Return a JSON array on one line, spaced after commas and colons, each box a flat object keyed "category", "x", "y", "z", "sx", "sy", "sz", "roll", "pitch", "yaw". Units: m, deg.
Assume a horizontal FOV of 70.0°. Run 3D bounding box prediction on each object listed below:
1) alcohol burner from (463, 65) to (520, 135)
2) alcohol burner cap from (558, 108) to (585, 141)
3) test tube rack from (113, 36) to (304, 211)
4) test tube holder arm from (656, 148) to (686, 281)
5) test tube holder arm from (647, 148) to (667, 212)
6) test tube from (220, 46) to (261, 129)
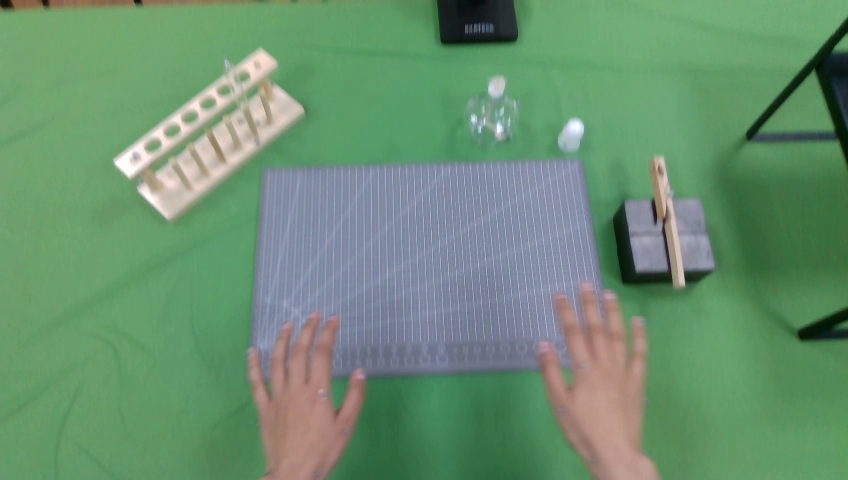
[{"category": "alcohol burner", "x": 0.094, "y": -0.195, "z": 0.820, "sx": 0.078, "sy": 0.120, "sz": 0.077, "roll": 1, "pitch": 67, "yaw": -2}, {"category": "alcohol burner cap", "x": 0.208, "y": -0.164, "z": 0.850, "sx": 0.034, "sy": 0.048, "sz": 0.033, "roll": 1, "pitch": 68, "yaw": -1}, {"category": "test tube rack", "x": -0.278, "y": -0.156, "z": 0.808, "sx": 0.066, "sy": 0.086, "sz": 0.242, "roll": 41, "pitch": 73, "yaw": 14}, {"category": "test tube holder arm", "x": 0.309, "y": -0.035, "z": 0.764, "sx": 0.013, "sy": 0.015, "sz": 0.177, "roll": 0, "pitch": 69, "yaw": -9}, {"category": "test tube holder arm", "x": 0.301, "y": -0.077, "z": 0.778, "sx": 0.010, "sy": 0.015, "sz": 0.087, "roll": 1, "pitch": 69, "yaw": -9}, {"category": "test tube", "x": -0.233, "y": -0.192, "z": 0.775, "sx": 0.017, "sy": 0.151, "sz": 0.017, "roll": 0, "pitch": 66, "yaw": -1}]
